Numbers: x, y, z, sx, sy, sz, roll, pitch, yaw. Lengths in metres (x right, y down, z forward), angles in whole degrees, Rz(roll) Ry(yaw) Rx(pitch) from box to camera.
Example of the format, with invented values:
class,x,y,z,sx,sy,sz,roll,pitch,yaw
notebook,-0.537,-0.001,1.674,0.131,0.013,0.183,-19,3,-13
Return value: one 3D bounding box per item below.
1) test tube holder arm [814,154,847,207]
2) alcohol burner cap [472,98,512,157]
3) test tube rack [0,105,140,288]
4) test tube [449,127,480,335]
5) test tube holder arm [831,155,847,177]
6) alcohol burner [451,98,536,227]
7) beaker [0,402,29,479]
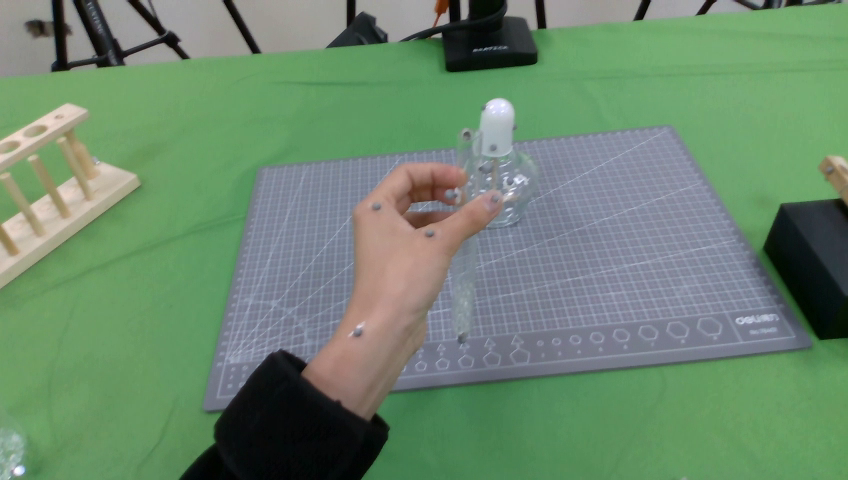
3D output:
class,x,y,z,sx,sy,sz,roll,pitch,yaw
test tube holder arm,0.335,-0.037,0.477,0.010,0.015,0.087,2,44,-5
alcohol burner cap,0.059,-0.097,0.514,0.034,0.048,0.033,1,43,-1
test tube rack,-0.395,-0.024,0.561,0.066,0.086,0.241,19,49,24
test tube,0.025,0.001,0.390,0.017,0.151,0.017,0,31,0
test tube holder arm,0.343,-0.006,0.446,0.013,0.015,0.176,1,44,-5
alcohol burner,0.062,-0.072,0.540,0.078,0.120,0.077,-3,42,3
beaker,-0.317,0.124,0.388,0.084,0.101,0.073,-23,46,-16
